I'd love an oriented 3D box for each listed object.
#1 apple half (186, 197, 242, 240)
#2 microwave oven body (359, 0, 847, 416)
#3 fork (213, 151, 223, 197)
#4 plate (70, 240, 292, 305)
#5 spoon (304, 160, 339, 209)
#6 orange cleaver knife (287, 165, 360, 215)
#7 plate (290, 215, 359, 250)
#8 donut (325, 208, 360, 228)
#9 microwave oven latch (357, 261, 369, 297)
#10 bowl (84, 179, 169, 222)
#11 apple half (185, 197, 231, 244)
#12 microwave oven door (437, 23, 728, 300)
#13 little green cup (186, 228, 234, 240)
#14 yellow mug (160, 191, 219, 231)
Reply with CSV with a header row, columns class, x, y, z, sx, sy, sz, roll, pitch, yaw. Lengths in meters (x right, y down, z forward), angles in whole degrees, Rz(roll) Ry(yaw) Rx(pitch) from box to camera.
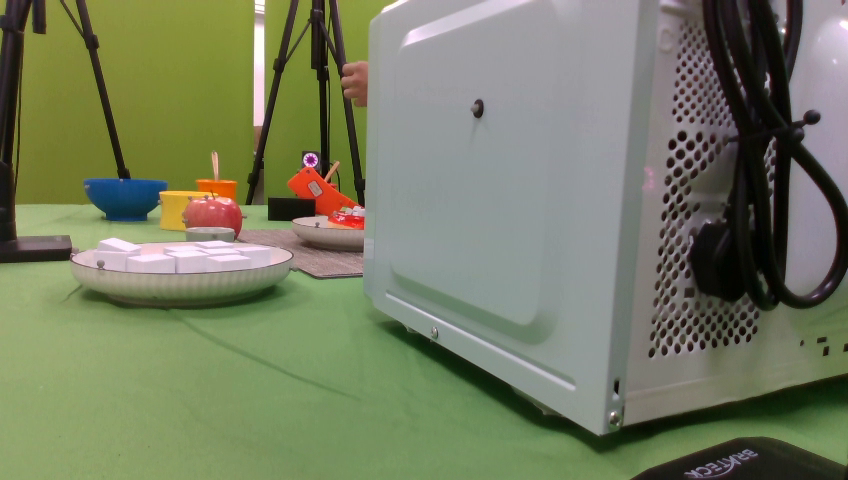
class,x,y,z,sx,sy,sz,roll,pitch,yaw
apple half,-0.306,-0.026,0.904,0.053,0.074,0.081,14,9,37
microwave oven body,0.211,-0.047,0.474,0.444,0.260,0.324,-1,7,-28
fork,-0.494,-0.143,1.442,0.028,0.018,0.206,-2,52,-20
plate,-0.242,0.031,0.618,0.208,0.039,0.207,2,8,0
spoon,-0.258,-0.147,1.567,0.041,0.022,0.193,5,51,21
orange cleaver knife,-0.211,-0.092,1.382,0.212,0.077,0.012,34,1,-15
plate,-0.110,-0.014,0.973,0.209,0.038,0.209,3,8,0
donut,-0.110,-0.025,0.974,0.099,0.048,0.099,5,8,0
microwave oven latch,-0.019,0.033,0.531,0.079,0.029,0.030,-1,7,-27
bowl,-0.584,-0.078,1.194,0.151,0.077,0.151,3,8,0
apple half,-0.337,-0.031,0.927,0.032,0.081,0.082,13,13,37
microwave oven door,0.181,-0.072,0.621,0.358,0.243,0.039,-2,8,-29
little green cup,-0.284,0.005,0.805,0.061,0.038,0.061,2,8,0
yellow mug,-0.416,-0.053,1.103,0.130,0.064,0.100,7,8,27
